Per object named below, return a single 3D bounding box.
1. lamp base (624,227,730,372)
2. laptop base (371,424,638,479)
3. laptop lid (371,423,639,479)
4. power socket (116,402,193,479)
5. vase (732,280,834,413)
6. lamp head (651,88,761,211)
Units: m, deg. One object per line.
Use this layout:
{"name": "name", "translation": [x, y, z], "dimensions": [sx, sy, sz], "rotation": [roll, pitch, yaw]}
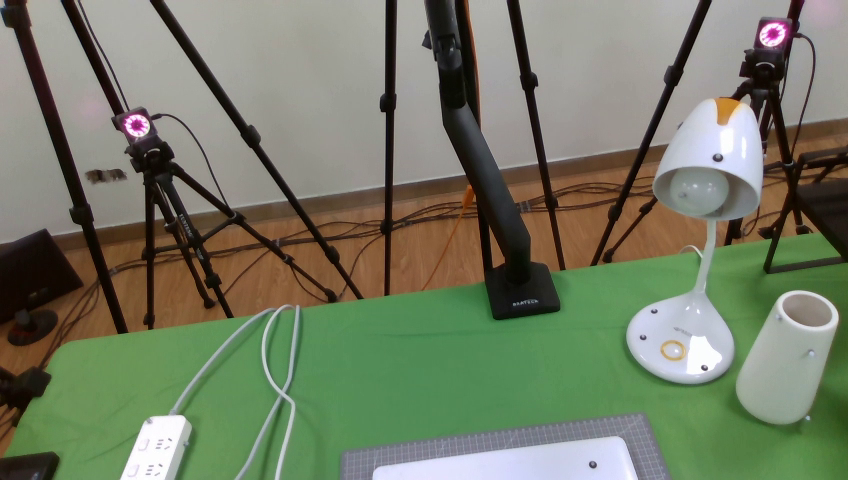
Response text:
{"name": "lamp base", "translation": [0.399, 0.078, 0.923], "dimensions": [0.159, 0.182, 0.178], "rotation": [16, 45, 26]}
{"name": "laptop base", "translation": [0.109, 0.364, 0.774], "dimensions": [0.354, 0.023, 0.233], "rotation": [-8, 45, 1]}
{"name": "laptop lid", "translation": [0.107, 0.358, 0.765], "dimensions": [0.357, 0.013, 0.239], "rotation": [-7, 44, 2]}
{"name": "power socket", "translation": [-0.404, 0.336, 0.883], "dimensions": [0.072, 0.033, 0.224], "rotation": [-3, 41, 5]}
{"name": "vase", "translation": [0.484, 0.145, 0.819], "dimensions": [0.098, 0.202, 0.097], "rotation": [-6, 40, 5]}
{"name": "lamp head", "translation": [0.328, -0.107, 0.690], "dimensions": [0.112, 0.113, 0.122], "rotation": [14, 64, 24]}
